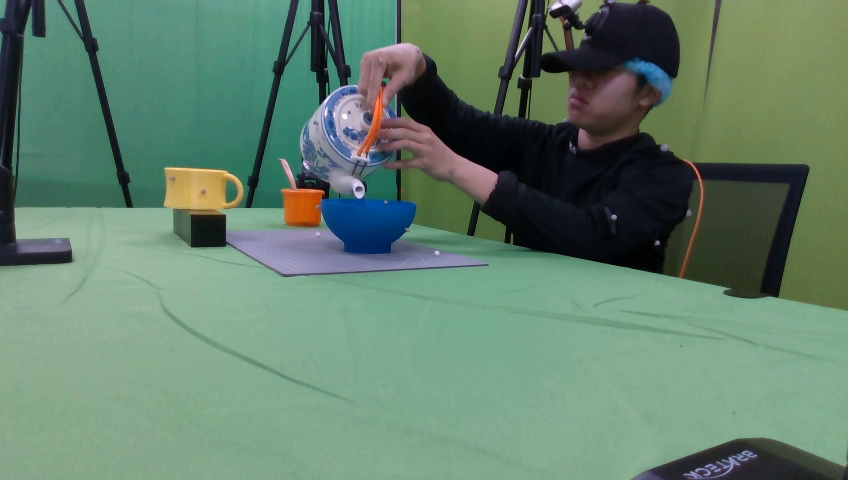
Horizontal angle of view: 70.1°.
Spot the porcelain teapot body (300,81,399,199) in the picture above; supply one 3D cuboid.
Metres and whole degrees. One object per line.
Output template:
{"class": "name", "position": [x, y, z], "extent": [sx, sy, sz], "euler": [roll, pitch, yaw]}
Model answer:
{"class": "porcelain teapot body", "position": [-0.118, -0.159, 1.030], "extent": [0.146, 0.205, 0.224], "euler": [8, -14, -27]}

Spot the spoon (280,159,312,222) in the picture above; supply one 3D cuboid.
{"class": "spoon", "position": [-0.284, -0.111, 1.320], "extent": [0.042, 0.193, 0.021], "euler": [-2, -36, -32]}

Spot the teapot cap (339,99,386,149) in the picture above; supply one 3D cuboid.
{"class": "teapot cap", "position": [-0.099, -0.194, 1.002], "extent": [0.085, 0.085, 0.043], "euler": [-1, -6, -30]}

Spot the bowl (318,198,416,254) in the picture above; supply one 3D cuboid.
{"class": "bowl", "position": [-0.089, -0.022, 0.940], "extent": [0.151, 0.077, 0.151], "euler": [2, 8, 0]}

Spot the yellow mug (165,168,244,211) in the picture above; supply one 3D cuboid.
{"class": "yellow mug", "position": [-0.370, -0.086, 1.027], "extent": [0.131, 0.064, 0.100], "euler": [5, 8, 4]}
